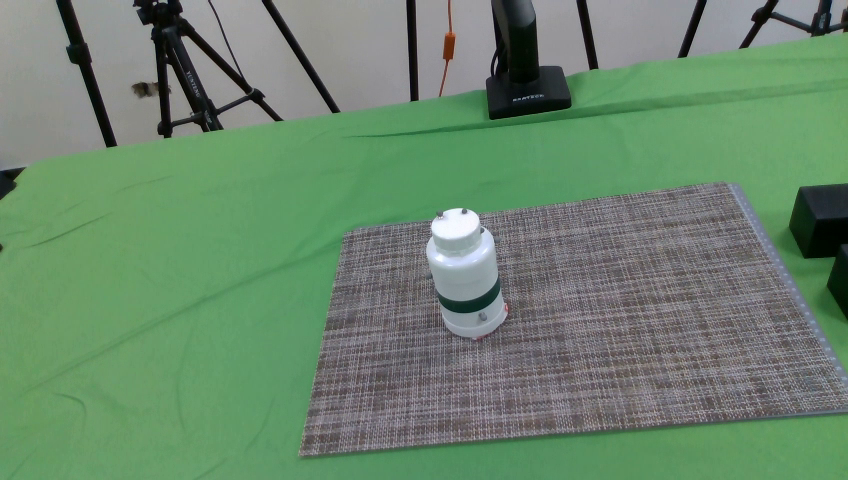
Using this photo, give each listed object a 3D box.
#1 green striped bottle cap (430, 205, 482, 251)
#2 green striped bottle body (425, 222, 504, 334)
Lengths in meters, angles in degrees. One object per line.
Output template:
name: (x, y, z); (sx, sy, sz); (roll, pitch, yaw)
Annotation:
green striped bottle cap: (0.028, -0.010, 0.532); (0.044, 0.020, 0.044); (-9, 40, 8)
green striped bottle body: (0.038, 0.028, 0.566); (0.063, 0.120, 0.062); (-8, 41, 7)
